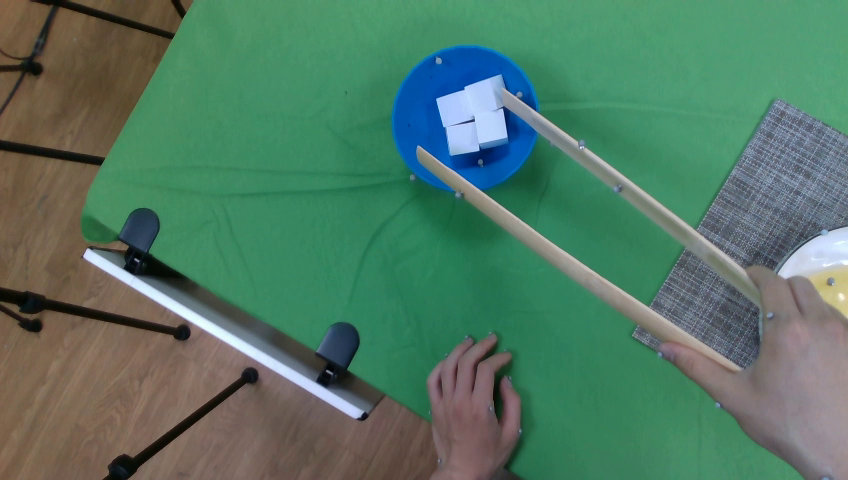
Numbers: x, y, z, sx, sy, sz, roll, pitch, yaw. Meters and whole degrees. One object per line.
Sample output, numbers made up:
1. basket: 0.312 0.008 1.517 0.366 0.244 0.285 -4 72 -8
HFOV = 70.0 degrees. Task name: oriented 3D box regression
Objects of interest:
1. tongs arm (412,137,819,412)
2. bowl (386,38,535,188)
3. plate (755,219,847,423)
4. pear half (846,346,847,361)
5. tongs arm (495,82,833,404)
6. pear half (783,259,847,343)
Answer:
1. tongs arm: 0.119 0.009 0.492 0.028 0.028 0.383 -38 56 -21
2. bowl: 0.040 -0.125 0.645 0.151 0.077 0.151 0 88 5
3. plate: 0.443 0.082 0.620 0.207 0.039 0.207 0 88 5
4. pear half: 0.479 0.113 0.611 0.088 0.031 0.070 -27 90 9
5. tongs arm: 0.166 -0.024 0.507 0.051 0.027 0.380 -34 56 -15
6. pear half: 0.424 0.051 0.610 0.076 0.056 0.110 41 88 1
